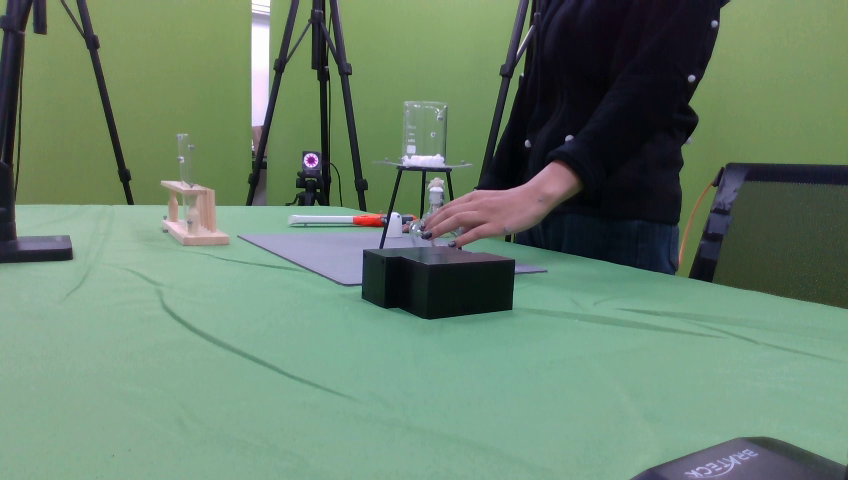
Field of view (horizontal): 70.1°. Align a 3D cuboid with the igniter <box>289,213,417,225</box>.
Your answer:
[{"bbox_3d":[-0.144,-0.044,1.275,0.278,0.025,0.057,-1,-2,-27],"label":"igniter"}]

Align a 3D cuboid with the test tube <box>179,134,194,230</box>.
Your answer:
[{"bbox_3d":[-0.366,-0.089,0.938,0.017,0.150,0.017,-1,9,1],"label":"test tube"}]

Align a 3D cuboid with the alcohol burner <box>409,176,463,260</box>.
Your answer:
[{"bbox_3d":[0.017,-0.031,0.861,0.078,0.119,0.078,0,9,0],"label":"alcohol burner"}]

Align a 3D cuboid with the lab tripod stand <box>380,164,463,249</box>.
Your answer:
[{"bbox_3d":[-0.003,-0.055,0.967,0.148,0.131,0.148,2,9,0],"label":"lab tripod stand"}]

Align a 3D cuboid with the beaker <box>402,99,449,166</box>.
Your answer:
[{"bbox_3d":[0.003,-0.168,0.957,0.073,0.100,0.084,8,11,35],"label":"beaker"}]

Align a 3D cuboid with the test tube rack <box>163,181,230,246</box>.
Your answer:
[{"bbox_3d":[-0.387,-0.050,1.015,0.067,0.085,0.241,-2,9,-30],"label":"test tube rack"}]

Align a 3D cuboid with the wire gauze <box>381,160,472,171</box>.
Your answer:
[{"bbox_3d":[-0.004,-0.120,0.959,0.122,0.011,0.124,-5,13,-33],"label":"wire gauze"}]

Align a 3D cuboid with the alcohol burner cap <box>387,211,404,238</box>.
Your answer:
[{"bbox_3d":[-0.053,-0.029,1.107,0.034,0.048,0.034,2,9,0],"label":"alcohol burner cap"}]
